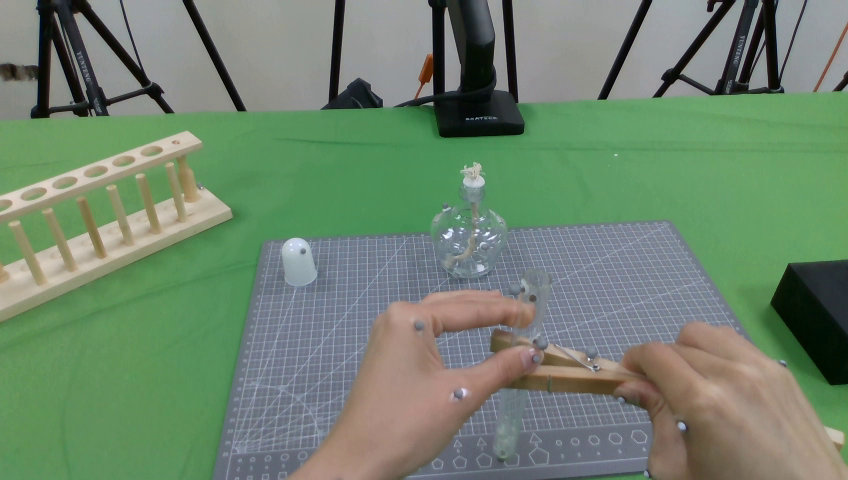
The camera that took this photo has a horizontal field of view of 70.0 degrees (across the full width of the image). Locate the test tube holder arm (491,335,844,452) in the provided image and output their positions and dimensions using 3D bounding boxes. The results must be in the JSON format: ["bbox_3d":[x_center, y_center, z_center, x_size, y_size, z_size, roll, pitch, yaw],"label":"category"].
[{"bbox_3d":[0.122,0.080,0.324,0.177,0.015,0.013,12,46,18],"label":"test tube holder arm"}]

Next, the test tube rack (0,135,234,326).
[{"bbox_3d":[-0.325,-0.018,0.612,0.242,0.086,0.066,-30,47,-33],"label":"test tube rack"}]

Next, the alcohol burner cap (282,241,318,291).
[{"bbox_3d":[-0.123,0.022,0.592,0.034,0.048,0.033,1,39,0],"label":"alcohol burner cap"}]

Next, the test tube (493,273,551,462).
[{"bbox_3d":[0.055,0.081,0.351,0.017,0.151,0.017,2,36,-1],"label":"test tube"}]

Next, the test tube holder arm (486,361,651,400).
[{"bbox_3d":[0.077,0.077,0.331,0.087,0.015,0.010,2,43,8],"label":"test tube holder arm"}]

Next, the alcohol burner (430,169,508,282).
[{"bbox_3d":[0.045,-0.018,0.586,0.078,0.120,0.077,1,39,0],"label":"alcohol burner"}]
